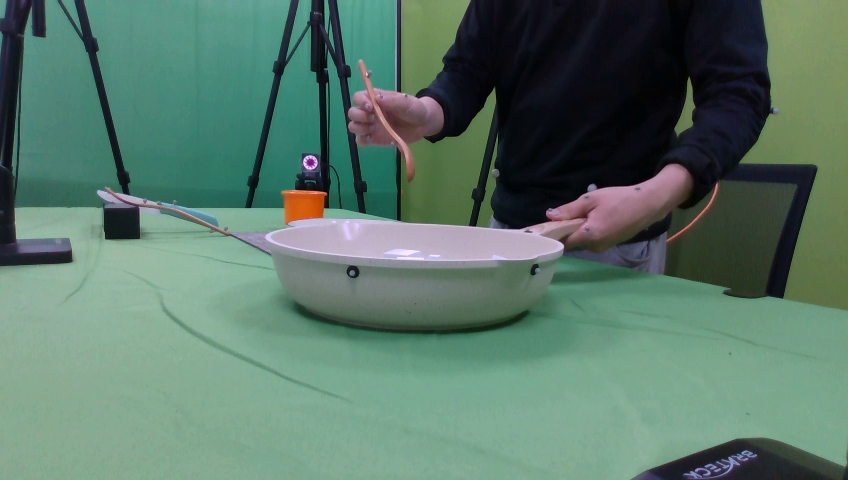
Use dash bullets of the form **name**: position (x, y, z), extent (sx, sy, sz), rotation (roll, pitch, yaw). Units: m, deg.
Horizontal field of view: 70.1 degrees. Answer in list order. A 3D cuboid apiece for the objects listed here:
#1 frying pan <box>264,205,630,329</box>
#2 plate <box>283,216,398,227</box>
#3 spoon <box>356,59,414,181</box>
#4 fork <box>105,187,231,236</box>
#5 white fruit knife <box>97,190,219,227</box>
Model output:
- **frying pan**: position (0.074, 0.005, 0.666), extent (0.490, 0.102, 0.305), rotation (-13, 15, -34)
- **plate**: position (-0.119, -0.009, 0.968), extent (0.208, 0.039, 0.207), rotation (3, 7, 0)
- **spoon**: position (-0.054, -0.163, 0.799), extent (0.021, 0.193, 0.042), rotation (-27, -17, -2)
- **fork**: position (-0.428, -0.046, 1.021), extent (0.208, 0.018, 0.028), rotation (19, -7, -26)
- **white fruit knife**: position (-0.468, -0.056, 1.079), extent (0.208, 0.027, 0.016), rotation (15, -2, -29)
